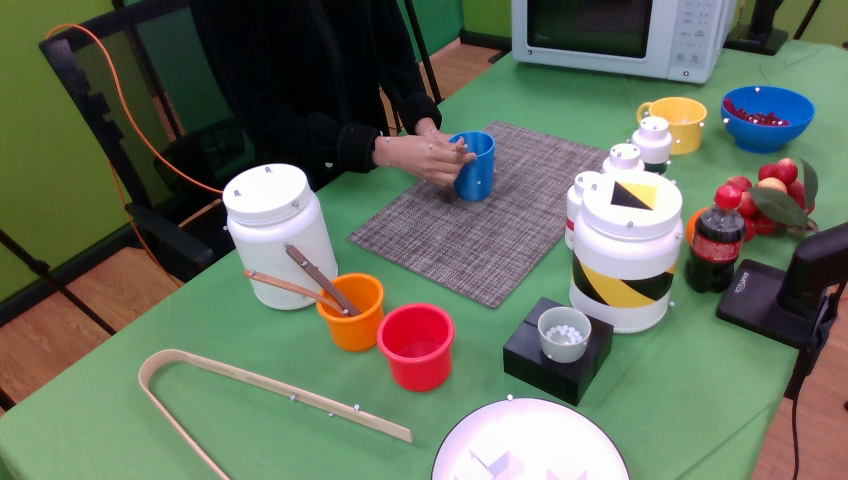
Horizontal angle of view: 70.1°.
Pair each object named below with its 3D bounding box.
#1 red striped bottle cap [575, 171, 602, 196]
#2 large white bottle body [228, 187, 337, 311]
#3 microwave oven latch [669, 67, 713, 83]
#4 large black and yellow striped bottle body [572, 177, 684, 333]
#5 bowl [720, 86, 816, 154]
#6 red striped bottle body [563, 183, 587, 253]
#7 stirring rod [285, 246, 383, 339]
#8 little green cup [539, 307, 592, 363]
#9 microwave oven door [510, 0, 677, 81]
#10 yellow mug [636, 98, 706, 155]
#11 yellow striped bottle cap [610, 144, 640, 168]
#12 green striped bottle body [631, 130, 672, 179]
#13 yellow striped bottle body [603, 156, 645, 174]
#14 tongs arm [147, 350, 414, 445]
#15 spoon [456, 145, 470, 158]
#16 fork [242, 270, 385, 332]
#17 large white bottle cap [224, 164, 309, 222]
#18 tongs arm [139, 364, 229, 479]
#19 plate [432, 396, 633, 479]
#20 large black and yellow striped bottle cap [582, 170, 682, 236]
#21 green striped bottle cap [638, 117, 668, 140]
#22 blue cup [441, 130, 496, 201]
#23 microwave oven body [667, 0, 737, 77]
[{"bbox_3d":[0.242,-0.081,0.876,0.044,0.018,0.044,-5,44,5],"label":"red striped bottle cap"},{"bbox_3d":[-0.207,-0.002,0.883,0.130,0.185,0.130,-4,40,4],"label":"large white bottle body"},{"bbox_3d":[0.556,-0.348,1.261,0.078,0.029,0.030,16,46,27],"label":"microwave oven latch"},{"bbox_3d":[0.262,0.017,0.788,0.131,0.185,0.130,-5,40,4],"label":"large black and yellow striped bottle body"},{"bbox_3d":[0.605,-0.206,1.081,0.151,0.077,0.150,-5,40,5],"label":"bowl"},{"bbox_3d":[0.246,-0.041,0.910,0.063,0.120,0.062,-2,38,2],"label":"red striped bottle body"},{"bbox_3d":[-0.121,0.071,0.819,0.176,0.006,0.014,44,52,-6],"label":"stirring rod"},{"bbox_3d":[0.168,0.115,0.721,0.061,0.039,0.061,-4,42,4],"label":"little green cup"},{"bbox_3d":[0.354,-0.478,1.290,0.353,0.245,0.039,15,45,25],"label":"microwave oven door"},{"bbox_3d":[0.453,-0.217,1.128,0.100,0.064,0.129,-34,46,-27],"label":"yellow mug"},{"bbox_3d":[0.307,-0.128,0.923,0.044,0.019,0.044,-5,39,5],"label":"yellow striped bottle cap"},{"bbox_3d":[0.375,-0.140,1.007,0.063,0.120,0.063,-5,40,4],"label":"green striped bottle body"},{"bbox_3d":[0.313,-0.089,0.956,0.063,0.121,0.062,-4,40,4],"label":"yellow striped bottle body"},{"bbox_3d":[-0.193,0.200,0.757,0.382,0.026,0.051,14,49,24],"label":"tongs arm"},{"bbox_3d":[0.067,-0.136,0.973,0.041,0.021,0.194,3,-3,11],"label":"spoon"},{"bbox_3d":[-0.142,0.082,0.802,0.209,0.018,0.028,28,38,-26],"label":"fork"},{"bbox_3d":[-0.216,-0.066,0.829,0.115,0.018,0.114,-4,40,4],"label":"large white bottle cap"},{"bbox_3d":[-0.241,0.255,0.707,0.384,0.028,0.028,27,59,34],"label":"tongs arm"},{"bbox_3d":[0.112,0.261,0.634,0.209,0.038,0.208,-5,40,4],"label":"plate"},{"bbox_3d":[0.252,-0.048,0.735,0.115,0.019,0.114,-3,40,3],"label":"large black and yellow striped bottle cap"},{"bbox_3d":[0.369,-0.180,0.974,0.044,0.020,0.044,-4,41,4],"label":"green striped bottle cap"},{"bbox_3d":[0.084,-0.123,1.041,0.092,0.101,0.092,-5,42,5],"label":"blue cup"},{"bbox_3d":[0.462,-0.552,1.369,0.439,0.261,0.326,15,45,26],"label":"microwave oven body"}]
